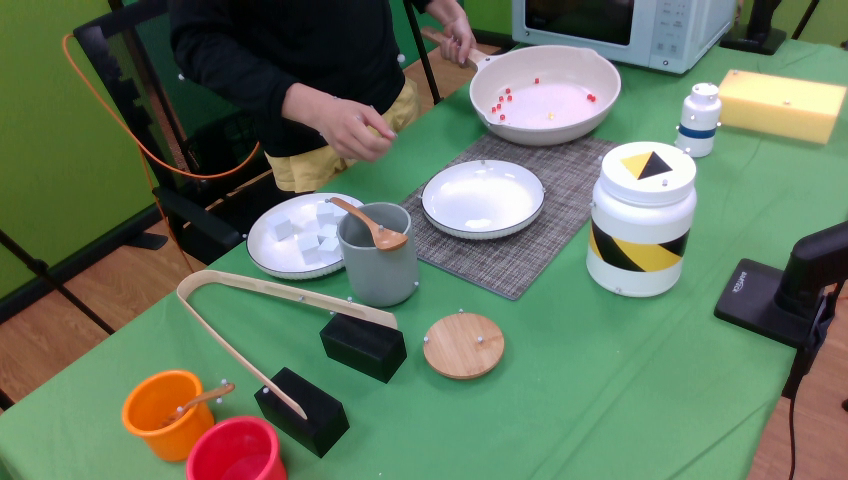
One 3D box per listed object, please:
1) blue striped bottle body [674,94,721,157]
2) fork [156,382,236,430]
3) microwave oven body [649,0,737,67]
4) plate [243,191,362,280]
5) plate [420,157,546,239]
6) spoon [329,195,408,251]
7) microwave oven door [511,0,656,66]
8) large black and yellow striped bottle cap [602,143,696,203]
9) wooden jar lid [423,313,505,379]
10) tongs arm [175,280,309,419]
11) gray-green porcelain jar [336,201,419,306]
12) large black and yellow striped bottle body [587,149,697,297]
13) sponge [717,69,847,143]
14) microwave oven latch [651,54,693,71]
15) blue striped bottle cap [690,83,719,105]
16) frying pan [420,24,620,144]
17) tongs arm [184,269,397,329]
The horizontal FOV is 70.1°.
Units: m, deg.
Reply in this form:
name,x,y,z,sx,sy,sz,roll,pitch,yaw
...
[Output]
name,x,y,z,sx,sy,sz,roll,pitch,yaw
blue striped bottle body,0.486,-0.213,1.071,0.063,0.121,0.063,-4,41,4
fork,-0.262,0.189,0.690,0.018,0.206,0.028,49,43,-7
microwave oven body,0.475,-0.602,1.411,0.438,0.261,0.327,23,50,32
plate,-0.187,-0.005,0.992,0.207,0.039,0.206,-4,40,4
plate,0.099,-0.067,1.017,0.209,0.038,0.208,-4,41,4
spoon,-0.083,-0.030,0.830,0.042,0.022,0.192,-30,42,-22
microwave oven door,0.351,-0.539,1.349,0.353,0.245,0.039,24,50,31
large black and yellow striped bottle cap,0.289,-0.088,0.779,0.115,0.019,0.114,-5,39,4
wooden jar lid,0.053,0.142,0.800,0.108,0.021,0.108,-4,39,4
tongs arm,-0.254,0.133,0.801,0.028,0.028,0.384,-41,41,-23
gray-green porcelain jar,-0.064,0.024,0.872,0.106,0.127,0.105,-4,41,4
large black and yellow striped bottle body,0.298,-0.026,0.835,0.131,0.185,0.130,-4,41,4
sponge,0.663,-0.256,1.142,0.205,0.061,0.118,19,47,28
microwave oven latch,0.531,-0.386,1.301,0.078,0.029,0.030,26,51,33
blue striped bottle cap,0.482,-0.251,1.038,0.044,0.021,0.044,-5,40,5
frying pan,0.167,-0.349,1.257,0.308,0.103,0.484,-37,60,-24
tongs arm,-0.203,0.085,0.847,0.382,0.027,0.051,11,45,35
